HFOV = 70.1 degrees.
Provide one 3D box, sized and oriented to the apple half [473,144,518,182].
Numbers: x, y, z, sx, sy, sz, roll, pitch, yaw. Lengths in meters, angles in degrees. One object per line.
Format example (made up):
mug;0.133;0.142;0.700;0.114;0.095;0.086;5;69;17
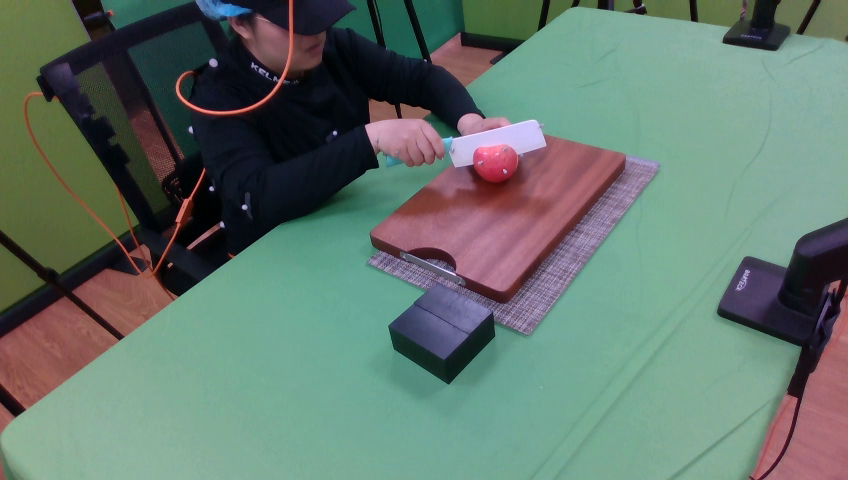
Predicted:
apple half;0.122;-0.124;1.025;0.081;0.081;0.032;-1;41;11

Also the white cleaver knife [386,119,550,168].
white cleaver knife;0.067;-0.151;1.028;0.285;0.066;0.021;-8;36;20

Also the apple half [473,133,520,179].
apple half;0.129;-0.151;1.054;0.080;0.075;0.053;-7;36;17
